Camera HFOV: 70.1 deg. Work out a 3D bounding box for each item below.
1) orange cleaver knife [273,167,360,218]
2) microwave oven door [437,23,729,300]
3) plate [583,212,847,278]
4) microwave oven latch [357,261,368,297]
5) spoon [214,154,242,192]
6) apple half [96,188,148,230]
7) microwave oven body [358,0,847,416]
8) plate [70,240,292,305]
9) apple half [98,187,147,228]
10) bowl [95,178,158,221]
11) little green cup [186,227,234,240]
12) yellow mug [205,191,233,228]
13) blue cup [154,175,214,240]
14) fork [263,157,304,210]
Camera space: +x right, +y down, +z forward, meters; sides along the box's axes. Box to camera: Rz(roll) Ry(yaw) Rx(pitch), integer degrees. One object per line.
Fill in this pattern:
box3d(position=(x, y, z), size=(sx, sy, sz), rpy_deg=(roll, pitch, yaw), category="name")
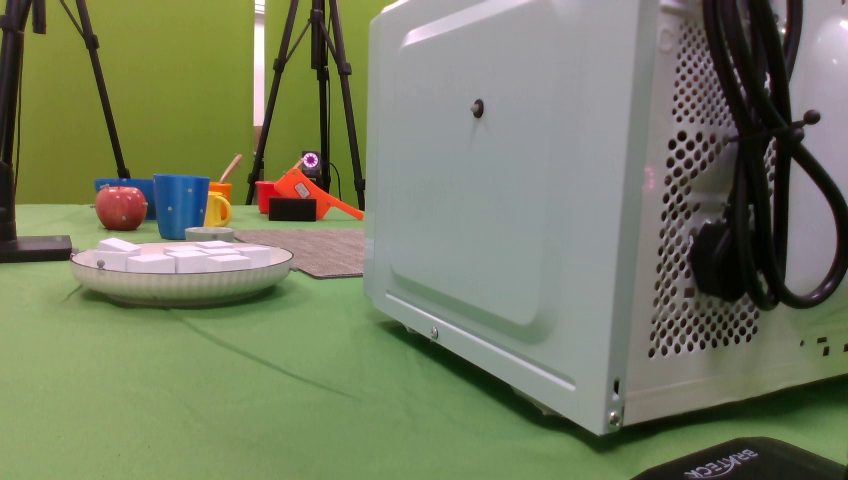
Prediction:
box3d(position=(-0.238, -0.091, 1.381), size=(0.212, 0.077, 0.012), rpy_deg=(31, 0, -19), category="orange cleaver knife")
box3d(position=(0.181, -0.072, 0.621), size=(0.358, 0.243, 0.039), rpy_deg=(-2, 8, -29), category="microwave oven door")
box3d(position=(0.239, 0.001, 0.510), size=(0.209, 0.038, 0.209), rpy_deg=(2, 6, 0), category="plate")
box3d(position=(-0.019, 0.033, 0.530), size=(0.079, 0.029, 0.030), rpy_deg=(-1, 7, -27), category="microwave oven latch")
box3d(position=(-0.439, -0.124, 1.317), size=(0.041, 0.193, 0.022), rpy_deg=(5, -36, 16), category="spoon")
box3d(position=(-0.517, -0.052, 1.036), size=(0.081, 0.074, 0.053), rpy_deg=(2, 10, -26), category="apple half")
box3d(position=(0.211, -0.047, 0.474), size=(0.444, 0.260, 0.324), rpy_deg=(-1, 7, -28), category="microwave oven body")
box3d(position=(-0.242, 0.031, 0.618), size=(0.208, 0.039, 0.207), rpy_deg=(2, 8, 0), category="plate")
box3d(position=(-0.533, -0.059, 1.071), size=(0.082, 0.081, 0.032), rpy_deg=(-1, 11, -25), category="apple half")
box3d(position=(-0.576, -0.081, 1.217), size=(0.151, 0.077, 0.151), rpy_deg=(3, 8, 0), category="bowl")
box3d(position=(-0.284, 0.005, 0.805), size=(0.061, 0.038, 0.061), rpy_deg=(2, 8, 0), category="little green cup")
box3d(position=(-0.415, -0.057, 1.132), size=(0.130, 0.064, 0.100), rpy_deg=(6, 8, 16), category="yellow mug")
box3d(position=(-0.390, -0.053, 0.978), size=(0.093, 0.100, 0.092), rpy_deg=(3, 6, 0), category="blue cup")
box3d(position=(-0.345, -0.143, 1.505), size=(0.028, 0.019, 0.207), rpy_deg=(-5, 45, 29), category="fork")
